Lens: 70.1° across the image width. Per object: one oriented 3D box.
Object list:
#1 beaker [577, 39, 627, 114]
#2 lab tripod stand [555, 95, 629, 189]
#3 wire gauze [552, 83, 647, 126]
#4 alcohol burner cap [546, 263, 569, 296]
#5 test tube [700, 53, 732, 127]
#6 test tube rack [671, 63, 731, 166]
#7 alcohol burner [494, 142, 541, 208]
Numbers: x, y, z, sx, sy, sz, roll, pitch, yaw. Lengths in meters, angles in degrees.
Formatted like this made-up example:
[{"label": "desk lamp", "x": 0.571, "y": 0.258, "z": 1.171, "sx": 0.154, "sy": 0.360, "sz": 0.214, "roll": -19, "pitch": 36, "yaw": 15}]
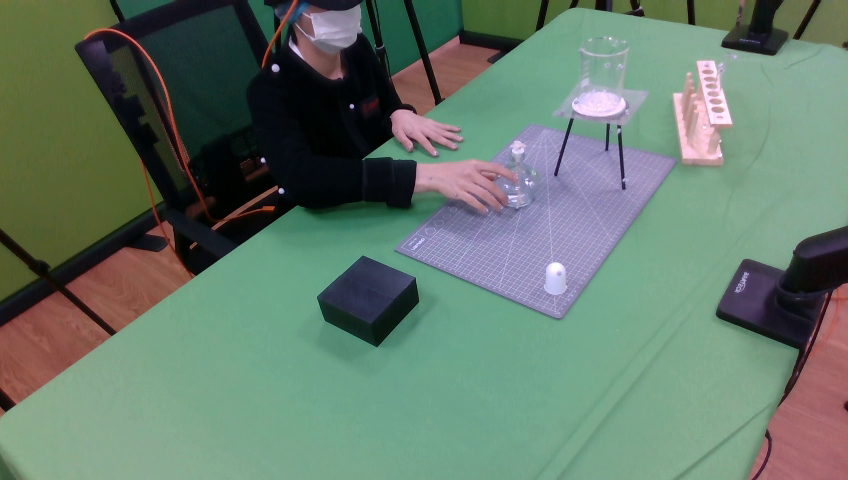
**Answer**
[{"label": "beaker", "x": 0.286, "y": -0.264, "z": 0.976, "sx": 0.073, "sy": 0.101, "sz": 0.084, "roll": 25, "pitch": 49, "yaw": 33}, {"label": "lab tripod stand", "x": 0.300, "y": -0.174, "z": 1.045, "sx": 0.148, "sy": 0.132, "sz": 0.147, "roll": -5, "pitch": 38, "yaw": 5}, {"label": "wire gauze", "x": 0.293, "y": -0.224, "z": 1.004, "sx": 0.120, "sy": 0.011, "sz": 0.125, "roll": 19, "pitch": 43, "yaw": 26}, {"label": "alcohol burner cap", "x": 0.191, "y": 0.053, "z": 0.862, "sx": 0.034, "sy": 0.048, "sz": 0.033, "roll": -5, "pitch": 40, "yaw": 4}, {"label": "test tube", "x": 0.521, "y": -0.265, "z": 1.081, "sx": 0.017, "sy": 0.151, "sz": 0.017, "roll": -3, "pitch": 47, "yaw": 3}, {"label": "test tube rack", "x": 0.513, "y": -0.241, "z": 1.132, "sx": 0.066, "sy": 0.085, "sz": 0.242, "roll": 4, "pitch": 41, "yaw": 14}, {"label": "alcohol burner", "x": 0.156, "y": -0.113, "z": 1.011, "sx": 0.078, "sy": 0.119, "sz": 0.077, "roll": -3, "pitch": 41, "yaw": 3}]
